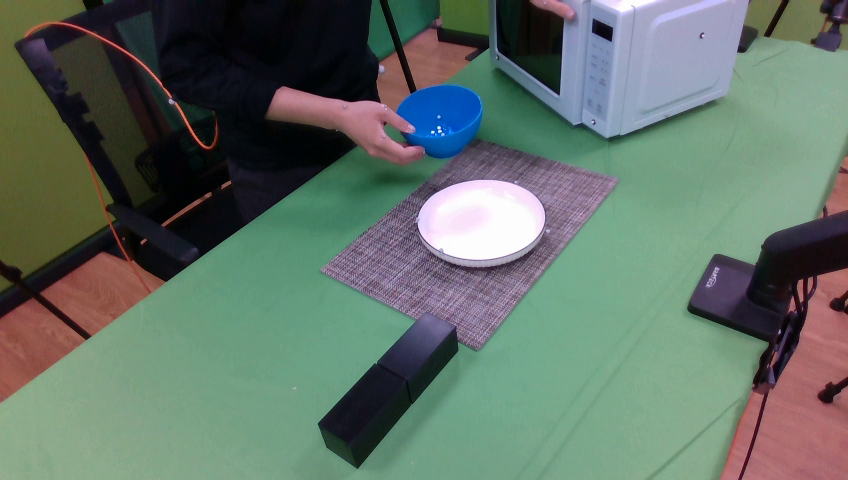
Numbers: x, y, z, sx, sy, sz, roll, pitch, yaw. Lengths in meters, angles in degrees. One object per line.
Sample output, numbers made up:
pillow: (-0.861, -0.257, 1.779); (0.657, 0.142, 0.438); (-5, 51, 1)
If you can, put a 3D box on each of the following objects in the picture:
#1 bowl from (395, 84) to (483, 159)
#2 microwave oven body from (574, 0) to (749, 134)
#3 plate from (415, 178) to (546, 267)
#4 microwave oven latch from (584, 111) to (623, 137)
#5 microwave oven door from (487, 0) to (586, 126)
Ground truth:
bowl: (0.030, -0.194, 1.045); (0.151, 0.077, 0.150); (-5, 47, 6)
microwave oven body: (0.382, -0.444, 1.246); (0.327, 0.261, 0.437); (-22, 42, -16)
plate: (0.091, -0.026, 0.970); (0.207, 0.039, 0.206); (-4, 41, 4)
microwave oven latch: (0.337, -0.222, 1.142); (0.030, 0.029, 0.078); (-21, 42, -14)
microwave oven door: (0.224, -0.417, 1.228); (0.039, 0.245, 0.352); (-19, 42, -14)
